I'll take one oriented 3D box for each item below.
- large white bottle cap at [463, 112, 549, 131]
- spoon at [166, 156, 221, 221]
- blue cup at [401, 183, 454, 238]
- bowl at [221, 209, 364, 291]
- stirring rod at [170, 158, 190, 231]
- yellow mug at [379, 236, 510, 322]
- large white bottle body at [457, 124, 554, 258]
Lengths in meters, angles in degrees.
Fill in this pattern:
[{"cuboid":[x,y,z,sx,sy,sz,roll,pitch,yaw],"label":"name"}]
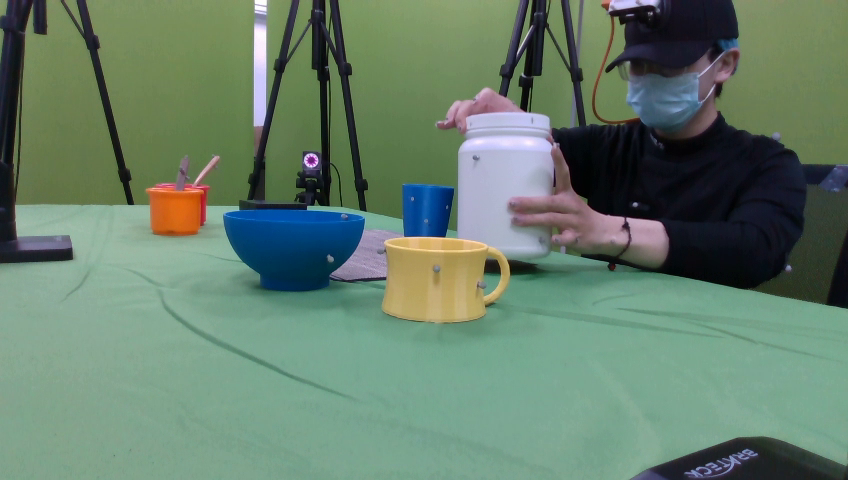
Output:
[{"cuboid":[0.110,-0.156,0.812,0.115,0.018,0.115,0,4,0],"label":"large white bottle cap"},{"cuboid":[-0.447,-0.104,1.192,0.041,0.022,0.193,7,52,14],"label":"spoon"},{"cuboid":[0.003,-0.039,0.966,0.093,0.100,0.092,3,8,0],"label":"blue cup"},{"cuboid":[-0.142,0.011,0.660,0.151,0.077,0.151,2,7,0],"label":"bowl"},{"cuboid":[-0.426,-0.083,1.059,0.014,0.006,0.175,2,49,-14],"label":"stirring rod"},{"cuboid":[0.024,0.034,0.575,0.131,0.064,0.099,1,7,-22],"label":"yellow mug"},{"cuboid":[0.110,-0.072,0.818,0.131,0.184,0.130,0,3,0],"label":"large white bottle body"}]
